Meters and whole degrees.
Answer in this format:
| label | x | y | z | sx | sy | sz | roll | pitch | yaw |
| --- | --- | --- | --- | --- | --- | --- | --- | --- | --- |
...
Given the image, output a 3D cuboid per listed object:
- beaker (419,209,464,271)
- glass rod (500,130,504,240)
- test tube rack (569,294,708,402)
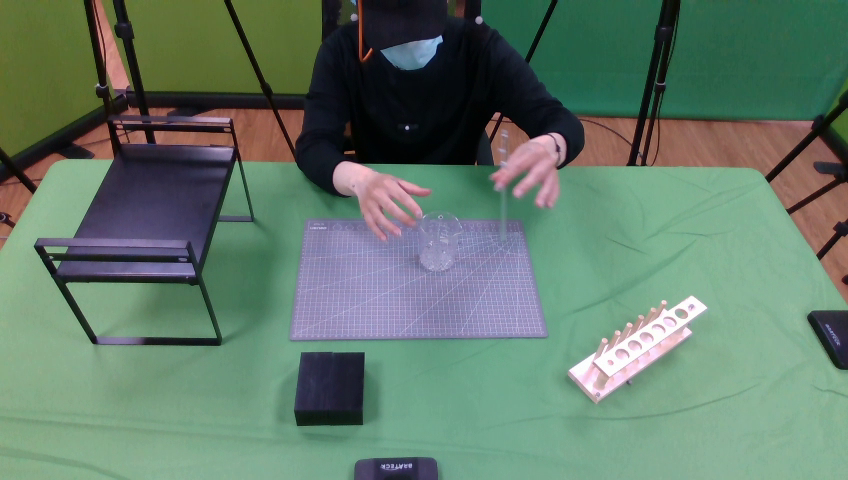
| label | x | y | z | sx | sy | sz | roll | pitch | yaw |
| --- | --- | --- | --- | --- | --- | --- | --- | --- | --- |
| beaker | 0.030 | 0.004 | 1.135 | 0.084 | 0.101 | 0.073 | 11 | 47 | 6 |
| glass rod | 0.124 | -0.083 | 0.968 | 0.008 | 0.201 | 0.008 | -3 | 35 | 2 |
| test tube rack | 0.360 | 0.167 | 1.015 | 0.242 | 0.085 | 0.066 | -25 | 52 | -25 |
